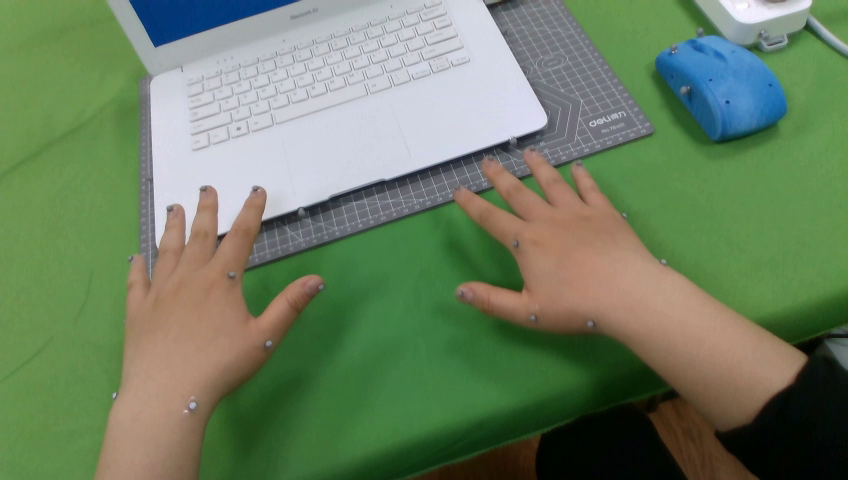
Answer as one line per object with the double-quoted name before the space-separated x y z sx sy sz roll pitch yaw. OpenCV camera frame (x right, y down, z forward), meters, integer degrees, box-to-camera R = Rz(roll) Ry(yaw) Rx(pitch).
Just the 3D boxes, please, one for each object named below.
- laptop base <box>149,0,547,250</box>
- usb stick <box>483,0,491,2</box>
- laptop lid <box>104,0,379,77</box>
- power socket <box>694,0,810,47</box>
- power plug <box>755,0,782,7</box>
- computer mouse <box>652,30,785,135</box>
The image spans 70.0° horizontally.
"laptop base" -0.089 -0.133 0.581 0.354 0.023 0.233 -19 58 -1
"usb stick" 0.070 -0.263 0.620 0.059 0.027 0.021 -19 54 3
"laptop lid" -0.148 -0.307 0.567 0.357 0.244 0.013 -20 43 0
"power socket" 0.285 -0.270 0.588 0.072 0.033 0.224 -16 55 1
"power plug" 0.326 -0.231 0.528 0.072 0.053 0.035 -6 59 6
"computer mouse" 0.244 -0.139 0.506 0.063 0.041 0.116 -19 50 1
